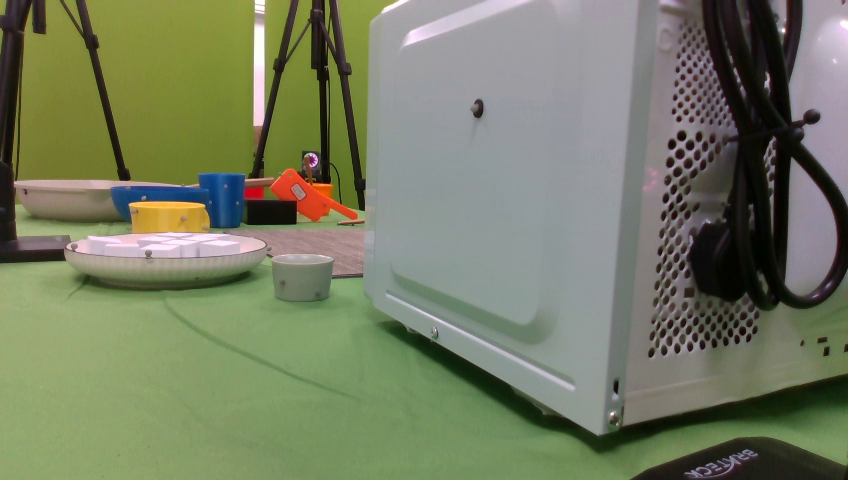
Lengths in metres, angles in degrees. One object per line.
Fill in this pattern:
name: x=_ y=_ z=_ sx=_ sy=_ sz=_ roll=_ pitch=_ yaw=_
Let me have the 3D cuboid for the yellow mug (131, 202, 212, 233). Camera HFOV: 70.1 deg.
yellow mug: x=-0.356 y=-0.020 z=0.878 sx=0.099 sy=0.064 sz=0.131 roll=5 pitch=7 yaw=21

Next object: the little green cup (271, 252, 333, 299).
little green cup: x=-0.122 y=0.035 z=0.605 sx=0.061 sy=0.038 sz=0.061 roll=3 pitch=7 yaw=0

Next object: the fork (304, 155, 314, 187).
fork: x=-0.268 y=-0.134 z=1.447 sx=0.028 sy=0.018 sz=0.207 roll=2 pitch=-36 yaw=-1

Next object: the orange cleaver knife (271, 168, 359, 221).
orange cleaver knife: x=-0.236 y=-0.084 z=1.333 sx=0.212 sy=0.077 sz=0.012 roll=31 pitch=-10 yaw=-32

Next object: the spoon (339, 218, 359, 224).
spoon: x=-0.087 y=-0.041 z=1.268 sx=0.193 sy=0.021 sz=0.041 roll=4 pitch=20 yaw=14

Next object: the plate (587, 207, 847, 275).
plate: x=0.245 y=-0.002 z=0.511 sx=0.209 sy=0.038 sz=0.209 roll=1 pitch=7 yaw=0

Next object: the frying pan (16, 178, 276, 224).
frying pan: x=-0.553 y=-0.097 z=1.266 sx=0.490 sy=0.102 sz=0.305 roll=-10 pitch=13 yaw=-24

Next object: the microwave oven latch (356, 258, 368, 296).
microwave oven latch: x=-0.019 y=0.031 z=0.528 sx=0.079 sy=0.029 sz=0.030 roll=-1 pitch=7 yaw=-24

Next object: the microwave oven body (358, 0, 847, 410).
microwave oven body: x=0.210 y=-0.051 z=0.471 sx=0.444 sy=0.260 sz=0.324 roll=-1 pitch=7 yaw=-28

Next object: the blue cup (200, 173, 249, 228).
blue cup: x=-0.381 y=-0.076 z=1.155 sx=0.093 sy=0.100 sz=0.092 roll=0 pitch=8 yaw=0

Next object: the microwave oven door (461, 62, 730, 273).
microwave oven door: x=0.203 y=-0.099 z=0.804 sx=0.354 sy=0.243 sz=0.039 roll=8 pitch=10 yaw=39

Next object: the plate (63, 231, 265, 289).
plate: x=-0.288 y=0.021 z=0.687 sx=0.208 sy=0.039 sz=0.207 roll=2 pitch=8 yaw=0

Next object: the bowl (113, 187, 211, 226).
bowl: x=-0.436 y=-0.046 z=1.013 sx=0.151 sy=0.077 sz=0.151 roll=2 pitch=7 yaw=0

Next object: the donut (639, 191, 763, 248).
donut: x=0.235 y=-0.017 z=0.518 sx=0.099 sy=0.048 sz=0.099 roll=3 pitch=4 yaw=0
